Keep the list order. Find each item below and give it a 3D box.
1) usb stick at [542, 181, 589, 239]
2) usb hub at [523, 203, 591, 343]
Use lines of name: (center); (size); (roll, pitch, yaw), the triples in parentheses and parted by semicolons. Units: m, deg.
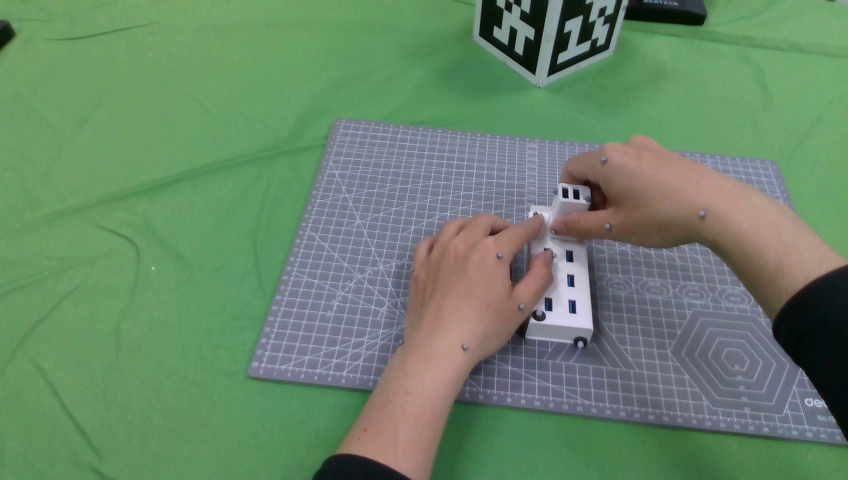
usb stick: (0.113, -0.019, 0.493); (0.027, 0.059, 0.021); (5, 48, 0)
usb hub: (0.106, 0.023, 0.495); (0.049, 0.025, 0.124); (6, 49, 3)
